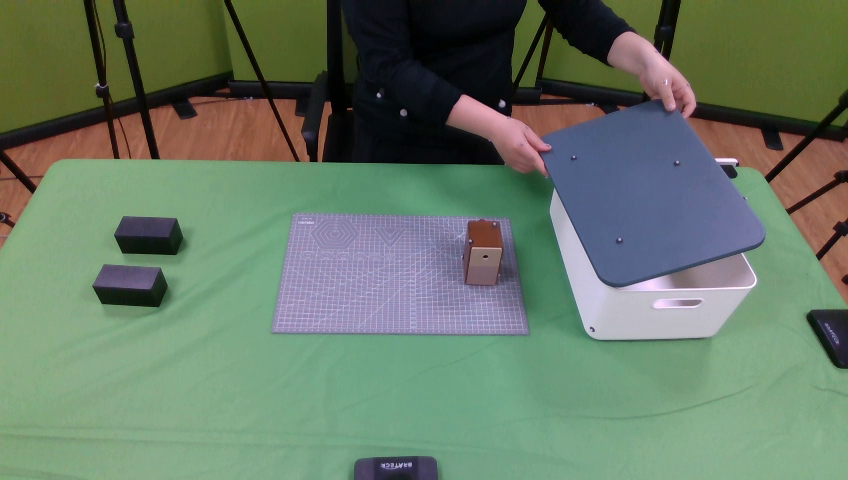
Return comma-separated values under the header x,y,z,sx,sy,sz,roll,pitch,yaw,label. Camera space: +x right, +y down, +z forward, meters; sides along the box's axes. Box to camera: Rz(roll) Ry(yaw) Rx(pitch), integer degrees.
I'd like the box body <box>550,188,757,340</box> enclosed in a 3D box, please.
x,y,z,sx,sy,sz,roll,pitch,yaw,label
0.395,0.003,1.127,0.254,0.161,0.361,-1,46,-5,box body

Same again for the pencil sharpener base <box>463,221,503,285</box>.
x,y,z,sx,sy,sz,roll,pitch,yaw,label
0.107,0.024,1.119,0.061,0.107,0.076,1,45,-2,pencil sharpener base

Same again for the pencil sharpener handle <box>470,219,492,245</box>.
x,y,z,sx,sy,sz,roll,pitch,yaw,label
0.103,-0.022,1.145,0.036,0.068,0.030,12,44,-13,pencil sharpener handle

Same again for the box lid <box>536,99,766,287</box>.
x,y,z,sx,sy,sz,roll,pitch,yaw,label
0.364,-0.093,1.027,0.263,0.015,0.369,-17,49,3,box lid
